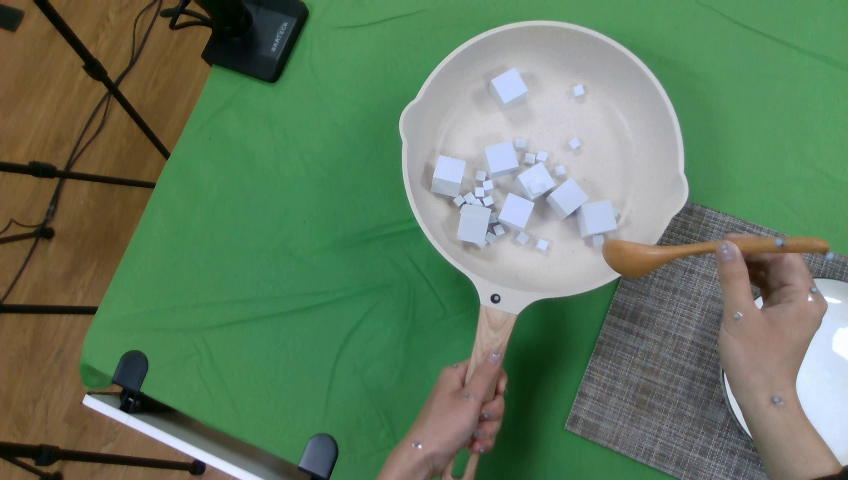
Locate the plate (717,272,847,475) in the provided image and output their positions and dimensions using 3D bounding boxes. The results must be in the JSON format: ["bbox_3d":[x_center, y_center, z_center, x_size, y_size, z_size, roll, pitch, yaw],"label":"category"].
[{"bbox_3d":[0.419,0.139,0.646,0.207,0.039,0.206,-2,79,8],"label":"plate"}]

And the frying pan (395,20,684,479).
[{"bbox_3d":[0.089,0.012,0.634,0.306,0.103,0.486,17,78,3],"label":"frying pan"}]

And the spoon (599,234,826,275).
[{"bbox_3d":[0.220,0.007,0.493,0.021,0.193,0.042,-39,107,-34],"label":"spoon"}]
